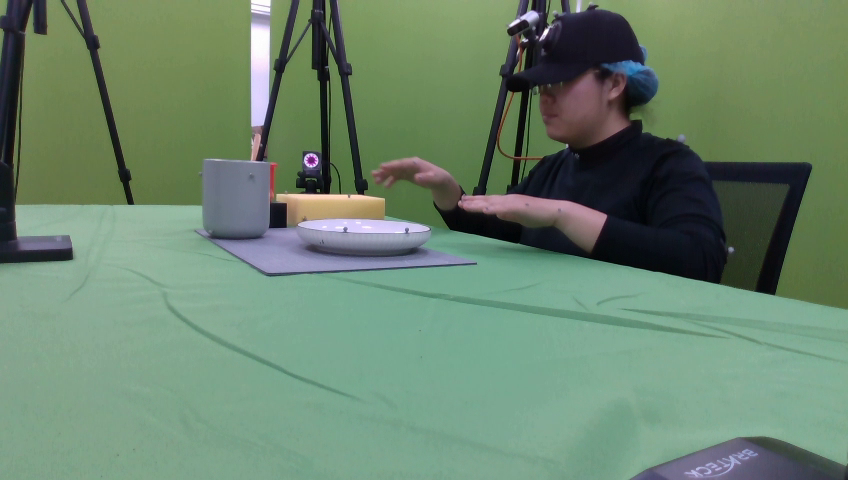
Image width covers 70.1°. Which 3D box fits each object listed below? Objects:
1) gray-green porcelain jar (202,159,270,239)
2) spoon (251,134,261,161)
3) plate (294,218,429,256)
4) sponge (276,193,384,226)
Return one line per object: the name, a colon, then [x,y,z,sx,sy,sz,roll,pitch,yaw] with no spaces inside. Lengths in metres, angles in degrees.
gray-green porcelain jar: [-0.310,-0.068,0.999,0.106,0.126,0.106,3,8,0]
spoon: [-0.341,-0.152,1.206,0.042,0.021,0.193,3,51,-7]
plate: [-0.096,-0.005,0.936,0.208,0.039,0.207,3,7,0]
sponge: [-0.202,-0.067,1.312,0.208,0.061,0.117,-3,9,-35]
